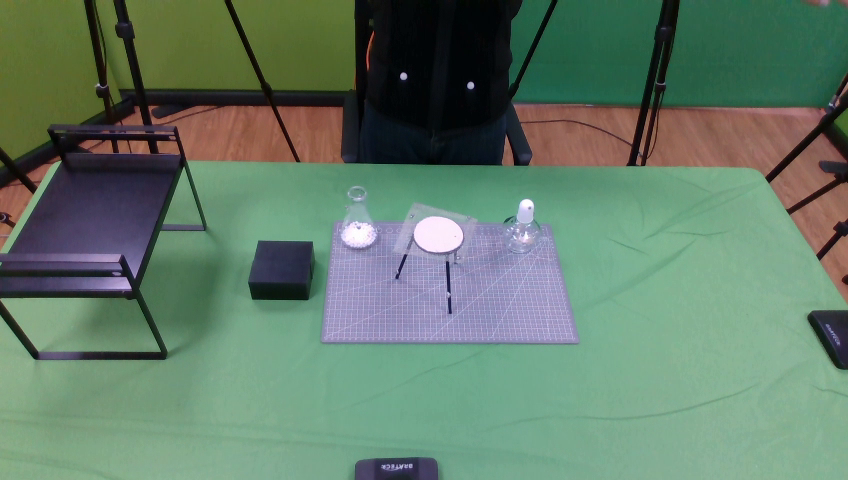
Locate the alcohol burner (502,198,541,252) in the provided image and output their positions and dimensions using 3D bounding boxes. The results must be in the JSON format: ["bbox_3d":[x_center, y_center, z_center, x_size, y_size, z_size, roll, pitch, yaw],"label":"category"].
[{"bbox_3d":[0.192,-0.033,1.178,0.078,0.119,0.077,2,44,-2],"label":"alcohol burner"}]

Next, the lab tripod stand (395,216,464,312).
[{"bbox_3d":[0.023,0.036,1.084,0.148,0.132,0.147,4,46,-4],"label":"lab tripod stand"}]

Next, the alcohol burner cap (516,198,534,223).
[{"bbox_3d":[0.194,-0.059,1.152,0.034,0.048,0.033,0,50,1],"label":"alcohol burner cap"}]

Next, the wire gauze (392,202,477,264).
[{"bbox_3d":[0.021,-0.011,1.036,0.121,0.011,0.124,13,47,8],"label":"wire gauze"}]

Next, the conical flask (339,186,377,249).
[{"bbox_3d":[-0.129,-0.047,1.160,0.075,0.122,0.075,2,46,-2],"label":"conical flask"}]
